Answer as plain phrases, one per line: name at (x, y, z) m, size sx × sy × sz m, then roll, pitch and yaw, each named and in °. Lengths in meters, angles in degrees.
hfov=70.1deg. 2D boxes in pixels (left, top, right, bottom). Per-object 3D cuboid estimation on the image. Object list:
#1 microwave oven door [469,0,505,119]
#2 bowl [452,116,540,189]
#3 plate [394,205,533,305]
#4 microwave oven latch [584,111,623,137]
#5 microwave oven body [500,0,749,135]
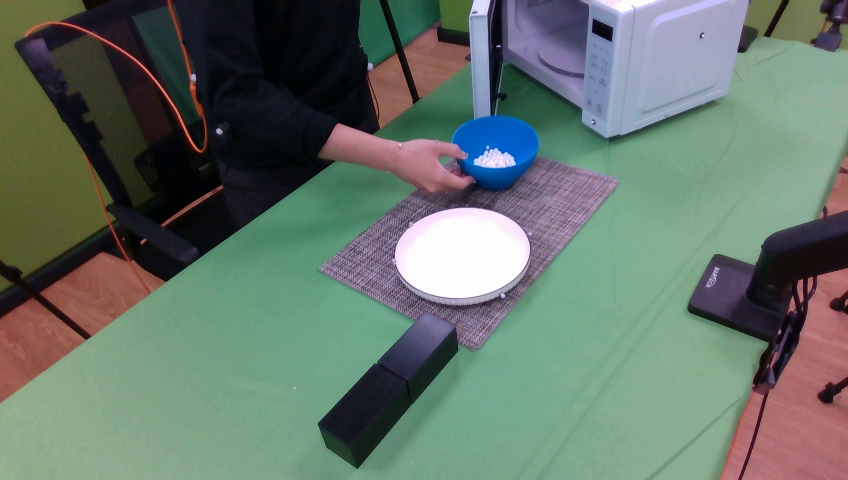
microwave oven door at (0.133, -0.403, 1.225) m, size 0.039 × 0.245 × 0.354 m, roll 1°, pitch 41°, yaw 11°
bowl at (0.124, -0.142, 1.057) m, size 0.151 × 0.077 × 0.150 m, roll -2°, pitch 46°, yaw 3°
plate at (0.059, 0.025, 0.915) m, size 0.207 × 0.039 × 0.206 m, roll -4°, pitch 41°, yaw 4°
microwave oven latch at (0.337, -0.222, 1.142) m, size 0.030 × 0.029 × 0.078 m, roll -21°, pitch 42°, yaw -14°
microwave oven body at (0.382, -0.444, 1.246) m, size 0.327 × 0.261 × 0.437 m, roll -22°, pitch 42°, yaw -16°
